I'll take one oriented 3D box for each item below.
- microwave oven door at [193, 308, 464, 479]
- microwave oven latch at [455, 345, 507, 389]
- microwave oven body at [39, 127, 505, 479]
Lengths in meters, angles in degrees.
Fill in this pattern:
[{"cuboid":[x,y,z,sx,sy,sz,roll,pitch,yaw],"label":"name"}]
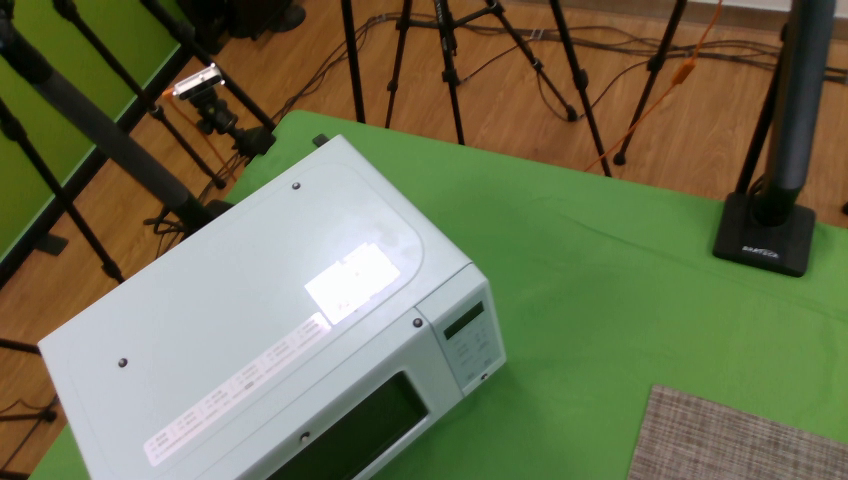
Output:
[{"cuboid":[-0.118,0.240,0.684,0.356,0.246,0.039,-38,57,-11],"label":"microwave oven door"},{"cuboid":[0.075,0.163,0.810,0.079,0.030,0.030,-36,58,-10],"label":"microwave oven latch"},{"cuboid":[-0.170,0.129,0.772,0.441,0.263,0.322,-38,58,-11],"label":"microwave oven body"}]
